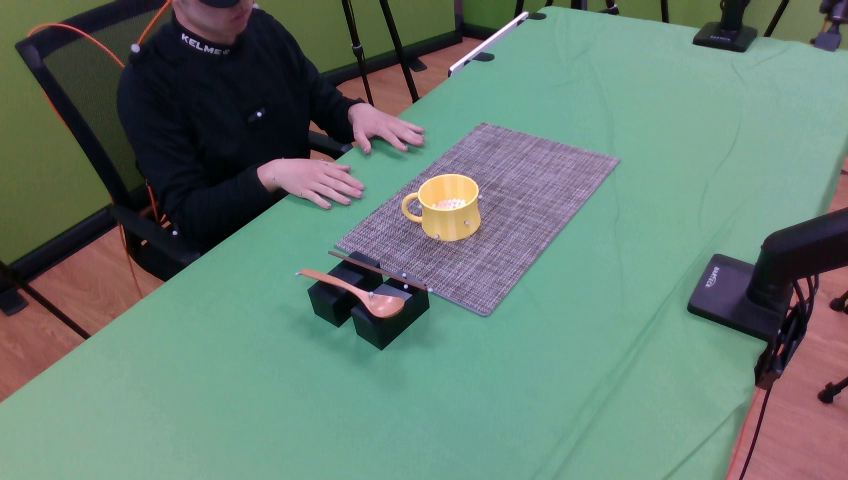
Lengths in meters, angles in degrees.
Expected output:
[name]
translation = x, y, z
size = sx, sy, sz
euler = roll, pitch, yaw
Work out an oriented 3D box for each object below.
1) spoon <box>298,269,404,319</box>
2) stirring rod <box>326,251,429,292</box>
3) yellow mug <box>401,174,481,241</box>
[spoon]
translation = -0.106, 0.068, 0.831
size = 0.192, 0.022, 0.042
euler = 21, 50, 32
[stirring rod]
translation = -0.068, 0.043, 0.858
size = 0.175, 0.006, 0.014
euler = 18, 9, 27
[yellow mug]
translation = 0.026, -0.054, 0.988
size = 0.130, 0.064, 0.099
euler = -1, 40, 8
